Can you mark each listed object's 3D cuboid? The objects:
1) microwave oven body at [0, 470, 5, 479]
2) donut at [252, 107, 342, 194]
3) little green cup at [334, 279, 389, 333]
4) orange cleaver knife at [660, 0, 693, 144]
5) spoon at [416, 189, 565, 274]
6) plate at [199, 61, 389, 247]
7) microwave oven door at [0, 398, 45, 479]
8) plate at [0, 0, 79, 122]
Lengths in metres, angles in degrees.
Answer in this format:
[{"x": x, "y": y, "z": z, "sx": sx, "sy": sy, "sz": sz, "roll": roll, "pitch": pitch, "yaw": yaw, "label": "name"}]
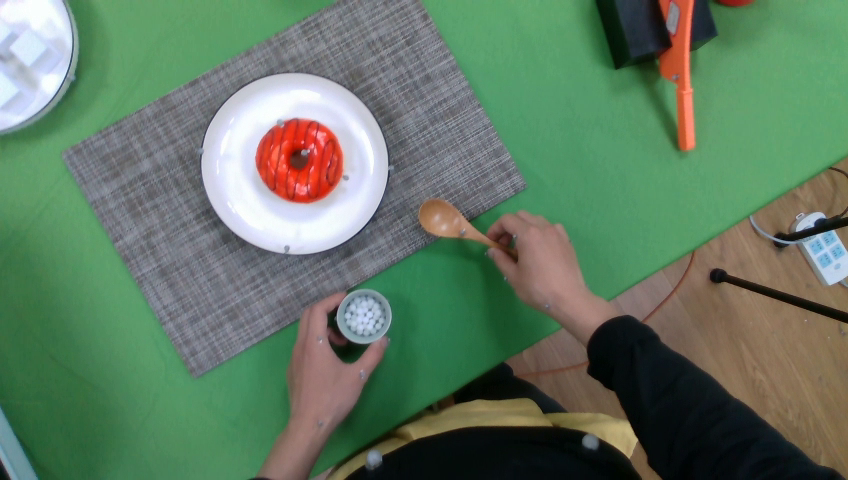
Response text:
[{"x": -0.626, "y": 0.213, "z": 0.550, "sx": 0.326, "sy": 0.260, "sz": 0.442, "roll": -27, "pitch": 92, "yaw": -3, "label": "microwave oven body"}, {"x": -0.141, "y": -0.099, "z": 0.676, "sx": 0.099, "sy": 0.048, "sz": 0.099, "roll": 0, "pitch": 92, "yaw": -2, "label": "donut"}, {"x": -0.070, "y": 0.076, "z": 0.693, "sx": 0.061, "sy": 0.039, "sz": 0.061, "roll": 0, "pitch": 85, "yaw": 0, "label": "little green cup"}, {"x": 0.288, "y": -0.215, "z": 0.692, "sx": 0.012, "sy": 0.076, "sz": 0.213, "roll": -15, "pitch": 120, "yaw": -1, "label": "orange cleaver knife"}, {"x": 0.078, "y": -0.004, "z": 0.696, "sx": 0.194, "sy": 0.021, "sz": 0.041, "roll": 26, "pitch": 80, "yaw": -5, "label": "spoon"}, {"x": -0.145, "y": -0.095, "z": 0.687, "sx": 0.209, "sy": 0.038, "sz": 0.209, "roll": 0, "pitch": 90, "yaw": -3, "label": "plate"}, {"x": -0.476, "y": 0.185, "z": 0.553, "sx": 0.039, "sy": 0.243, "sz": 0.356, "roll": -27, "pitch": 91, "yaw": -3, "label": "microwave oven door"}, {"x": -0.486, "y": -0.230, "z": 0.672, "sx": 0.208, "sy": 0.039, "sz": 0.207, "roll": 0, "pitch": 90, "yaw": -3, "label": "plate"}]
